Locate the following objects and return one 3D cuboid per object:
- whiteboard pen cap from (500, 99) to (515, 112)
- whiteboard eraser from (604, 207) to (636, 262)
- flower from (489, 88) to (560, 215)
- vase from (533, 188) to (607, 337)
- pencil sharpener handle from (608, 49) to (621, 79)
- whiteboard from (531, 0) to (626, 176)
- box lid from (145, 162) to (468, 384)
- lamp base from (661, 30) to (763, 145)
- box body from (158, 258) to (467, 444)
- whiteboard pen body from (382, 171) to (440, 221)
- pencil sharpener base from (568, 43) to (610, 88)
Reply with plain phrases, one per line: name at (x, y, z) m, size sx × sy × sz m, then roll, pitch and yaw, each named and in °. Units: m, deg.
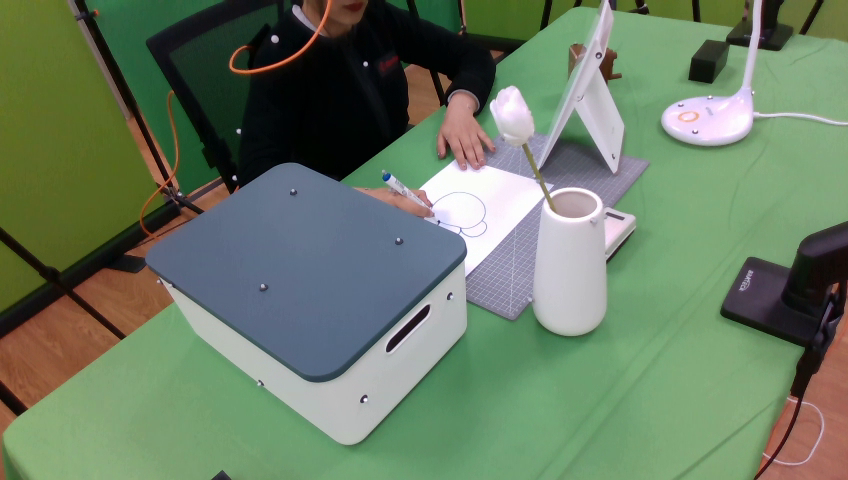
whiteboard pen cap at (0.177, -0.287, 1.290) m, size 0.033 × 0.018 × 0.018 m, roll -37°, pitch 47°, yaw -26°
whiteboard eraser at (0.272, -0.003, 0.919) m, size 0.055 × 0.042 × 0.113 m, roll 27°, pitch 51°, yaw 32°
flower at (0.158, -0.028, 0.720) m, size 0.038 × 0.364 × 0.044 m, roll -14°, pitch 44°, yaw 23°
vase at (0.187, 0.033, 0.771) m, size 0.098 × 0.201 × 0.097 m, roll -6°, pitch 41°, yaw 6°
pencil sharpener handle at (0.394, -0.368, 1.253) m, size 0.030 × 0.068 × 0.036 m, roll -9°, pitch 32°, yaw 1°
whiteboard at (0.320, -0.259, 1.050) m, size 0.144 × 0.306 × 0.217 m, roll 22°, pitch 45°, yaw 6°
box lid at (-0.157, 0.014, 0.769) m, size 0.368 × 0.015 × 0.264 m, roll 25°, pitch 51°, yaw 33°
lamp base at (0.535, -0.287, 1.096) m, size 0.179 × 0.181 × 0.159 m, roll -10°, pitch 40°, yaw -4°
box body at (-0.147, 0.072, 0.816) m, size 0.361 × 0.161 × 0.255 m, roll 24°, pitch 50°, yaw 33°
whiteboard pen body at (-0.018, -0.068, 0.983) m, size 0.017 × 0.142 × 0.017 m, roll -27°, pitch 44°, yaw 29°
pencil sharpener base at (0.345, -0.352, 1.263) m, size 0.077 × 0.107 × 0.061 m, roll -9°, pitch 40°, yaw 1°
